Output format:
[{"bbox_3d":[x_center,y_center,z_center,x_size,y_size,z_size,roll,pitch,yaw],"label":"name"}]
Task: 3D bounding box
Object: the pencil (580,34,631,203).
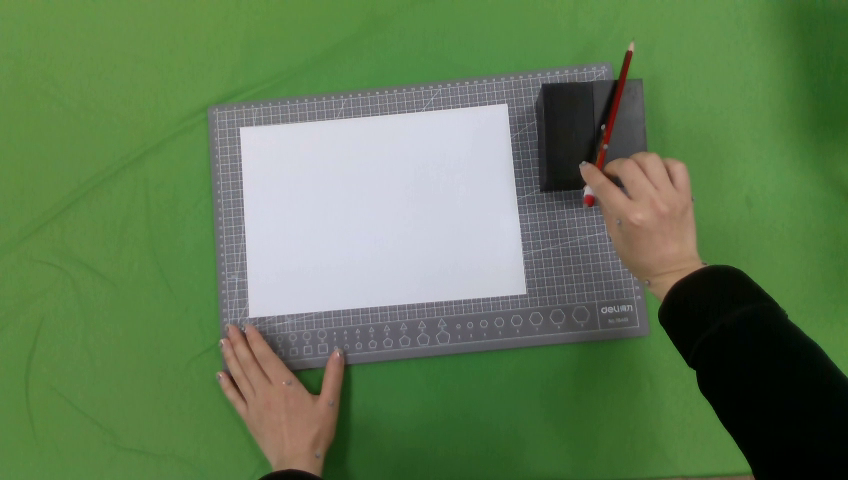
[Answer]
[{"bbox_3d":[0.178,-0.122,0.586,0.012,0.012,0.193,18,73,5],"label":"pencil"}]
